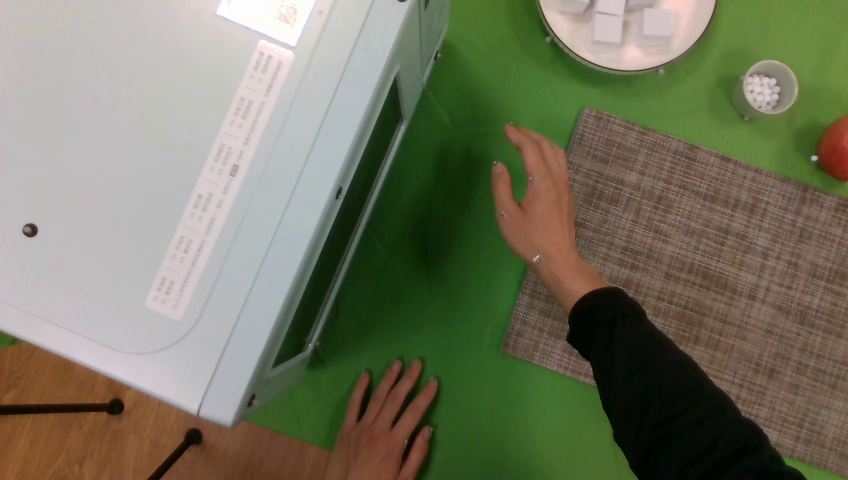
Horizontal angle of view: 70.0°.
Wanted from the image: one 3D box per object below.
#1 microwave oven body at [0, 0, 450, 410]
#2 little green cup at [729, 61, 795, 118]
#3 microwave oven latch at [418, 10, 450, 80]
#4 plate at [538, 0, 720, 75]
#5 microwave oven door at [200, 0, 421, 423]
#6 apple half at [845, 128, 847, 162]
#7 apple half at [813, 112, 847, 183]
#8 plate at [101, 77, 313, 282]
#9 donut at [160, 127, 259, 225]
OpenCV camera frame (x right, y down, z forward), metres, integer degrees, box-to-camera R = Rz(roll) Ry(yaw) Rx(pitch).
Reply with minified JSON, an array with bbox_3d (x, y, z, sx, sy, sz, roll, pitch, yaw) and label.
[{"bbox_3d":[-0.204,-0.121,0.573,0.326,0.260,0.441,23,88,1],"label":"microwave oven body"},{"bbox_3d":[0.384,-0.169,0.693,0.061,0.038,0.061,0,87,0],"label":"little green cup"},{"bbox_3d":[0.002,-0.221,0.674,0.030,0.029,0.079,26,88,1],"label":"microwave oven latch"},{"bbox_3d":[0.231,-0.289,0.697,0.208,0.039,0.207,0,87,0],"label":"plate"},{"bbox_3d":[-0.088,-0.025,0.564,0.039,0.244,0.355,23,87,1],"label":"microwave oven door"},{"bbox_3d":[0.505,-0.107,0.672,0.033,0.081,0.081,-6,87,5],"label":"apple half"},{"bbox_3d":[0.467,-0.102,0.673,0.053,0.074,0.081,-6,91,5],"label":"apple half"},{"bbox_3d":[-0.217,-0.060,0.621,0.209,0.038,0.209,0,89,-1],"label":"plate"},{"bbox_3d":[-0.214,-0.063,0.609,0.099,0.048,0.099,0,88,1],"label":"donut"}]
